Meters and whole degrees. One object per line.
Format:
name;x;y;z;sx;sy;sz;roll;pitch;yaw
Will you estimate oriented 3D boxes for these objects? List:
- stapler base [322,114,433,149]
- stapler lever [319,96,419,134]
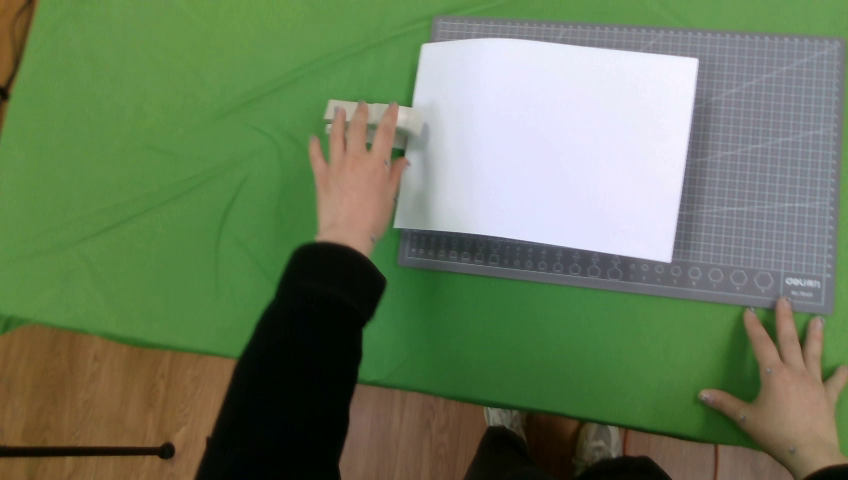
stapler base;-0.056;-0.136;0.693;0.130;0.024;0.041;12;83;12
stapler lever;-0.063;-0.140;0.669;0.118;0.040;0.027;12;82;12
